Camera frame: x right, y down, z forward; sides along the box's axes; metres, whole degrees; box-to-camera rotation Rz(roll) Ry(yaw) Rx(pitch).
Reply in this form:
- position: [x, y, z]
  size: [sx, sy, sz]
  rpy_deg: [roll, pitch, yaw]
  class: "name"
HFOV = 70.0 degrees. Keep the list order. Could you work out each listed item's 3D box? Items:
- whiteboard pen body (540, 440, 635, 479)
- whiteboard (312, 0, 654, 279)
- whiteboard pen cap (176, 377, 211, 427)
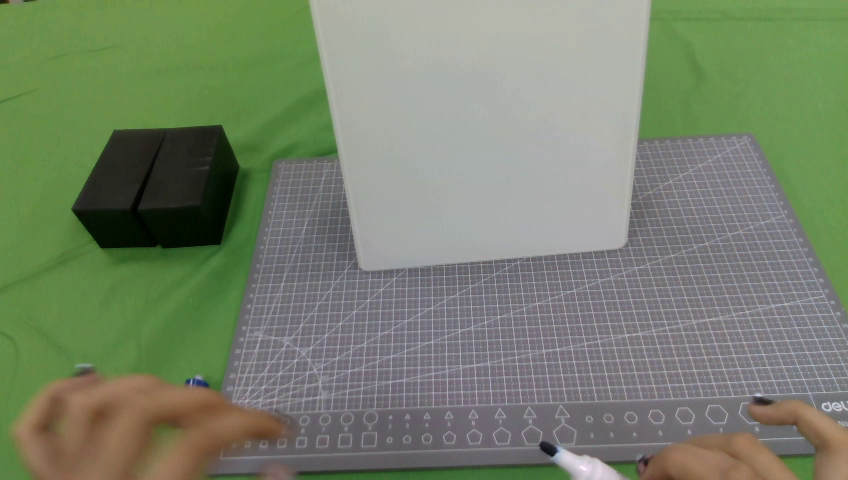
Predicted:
- position: [0.108, 0.125, 0.274]
  size: [0.141, 0.017, 0.017]
  rpy_deg: [34, 54, -12]
  class: "whiteboard pen body"
- position: [0.042, -0.143, 0.464]
  size: [0.217, 0.308, 0.142]
  rpy_deg: [-4, 31, 2]
  class: "whiteboard"
- position: [-0.161, 0.114, 0.422]
  size: [0.018, 0.018, 0.033]
  rpy_deg: [0, 53, 4]
  class: "whiteboard pen cap"
